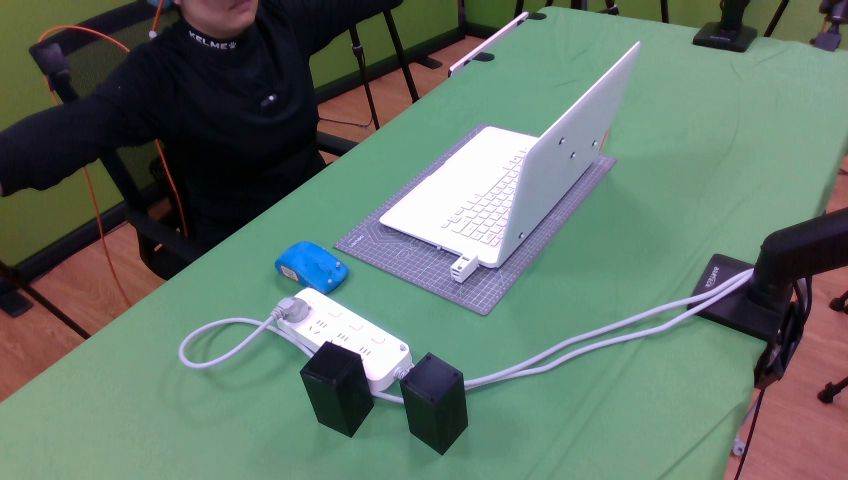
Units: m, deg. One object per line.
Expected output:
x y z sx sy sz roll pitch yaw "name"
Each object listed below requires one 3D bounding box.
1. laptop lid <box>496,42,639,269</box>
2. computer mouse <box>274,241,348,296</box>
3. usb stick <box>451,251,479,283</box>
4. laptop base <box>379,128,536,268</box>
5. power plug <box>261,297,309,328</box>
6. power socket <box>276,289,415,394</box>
0.220 -0.130 0.913 0.013 0.242 0.357 31 51 21 "laptop lid"
-0.176 0.040 0.936 0.116 0.041 0.063 27 48 27 "computer mouse"
0.065 0.036 0.900 0.021 0.027 0.059 24 46 31 "usb stick"
0.118 -0.088 1.058 0.233 0.023 0.355 19 47 32 "laptop base"
-0.193 0.107 0.831 0.073 0.053 0.035 -32 43 -25 "power plug"
-0.114 0.133 0.820 0.225 0.033 0.072 25 49 33 "power socket"
